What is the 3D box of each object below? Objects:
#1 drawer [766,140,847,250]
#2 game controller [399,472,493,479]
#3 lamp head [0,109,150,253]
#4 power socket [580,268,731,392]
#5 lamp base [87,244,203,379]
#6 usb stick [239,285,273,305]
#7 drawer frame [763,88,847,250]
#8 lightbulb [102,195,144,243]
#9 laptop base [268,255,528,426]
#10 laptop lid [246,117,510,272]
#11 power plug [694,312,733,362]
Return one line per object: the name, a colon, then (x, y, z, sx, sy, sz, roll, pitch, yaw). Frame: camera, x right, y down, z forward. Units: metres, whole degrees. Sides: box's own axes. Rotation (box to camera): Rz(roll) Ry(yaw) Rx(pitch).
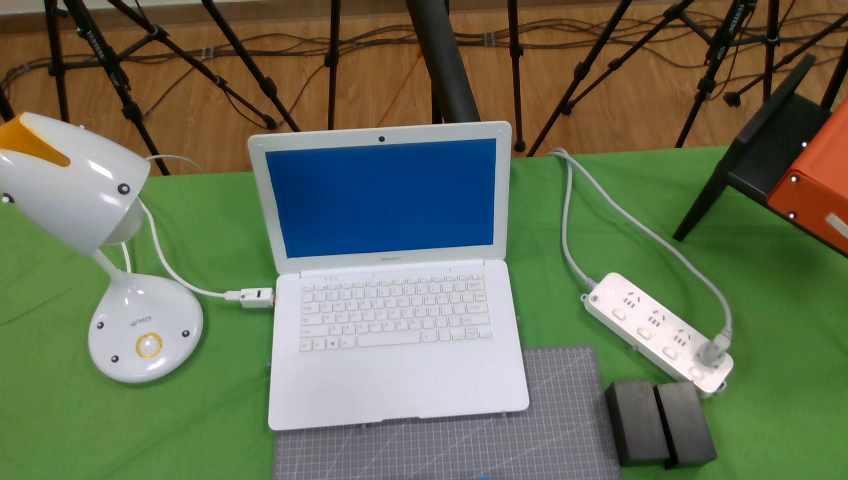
drawer: (0.574, -0.077, 0.754, 0.193, 0.074, 0.211, 38, 66, 20)
game controller: (0.028, 0.335, 0.738, 0.155, 0.052, 0.096, -1, 54, -1)
lamp head: (-0.342, -0.062, 0.566, 0.124, 0.112, 0.111, 35, 56, -29)
power socket: (0.332, 0.127, 0.871, 0.225, 0.033, 0.072, 39, 67, 21)
lamp base: (-0.410, 0.075, 0.814, 0.160, 0.182, 0.177, -31, 62, -17)
usb stick: (-0.240, 0.081, 0.893, 0.059, 0.027, 0.021, 1, 54, -4)
drawer frame: (0.576, -0.081, 0.755, 0.200, 0.083, 0.213, 38, 66, 20)
lightbulb: (-0.320, -0.042, 0.576, 0.059, 0.109, 0.059, -26, 37, 22)
laptop base: (-0.042, 0.138, 0.873, 0.354, 0.023, 0.233, -4, 62, -3)
laptop lid: (-0.055, -0.057, 0.865, 0.357, 0.244, 0.013, -5, 35, -2)
power plug: (0.406, 0.140, 0.836, 0.072, 0.053, 0.035, -32, 63, -19)
